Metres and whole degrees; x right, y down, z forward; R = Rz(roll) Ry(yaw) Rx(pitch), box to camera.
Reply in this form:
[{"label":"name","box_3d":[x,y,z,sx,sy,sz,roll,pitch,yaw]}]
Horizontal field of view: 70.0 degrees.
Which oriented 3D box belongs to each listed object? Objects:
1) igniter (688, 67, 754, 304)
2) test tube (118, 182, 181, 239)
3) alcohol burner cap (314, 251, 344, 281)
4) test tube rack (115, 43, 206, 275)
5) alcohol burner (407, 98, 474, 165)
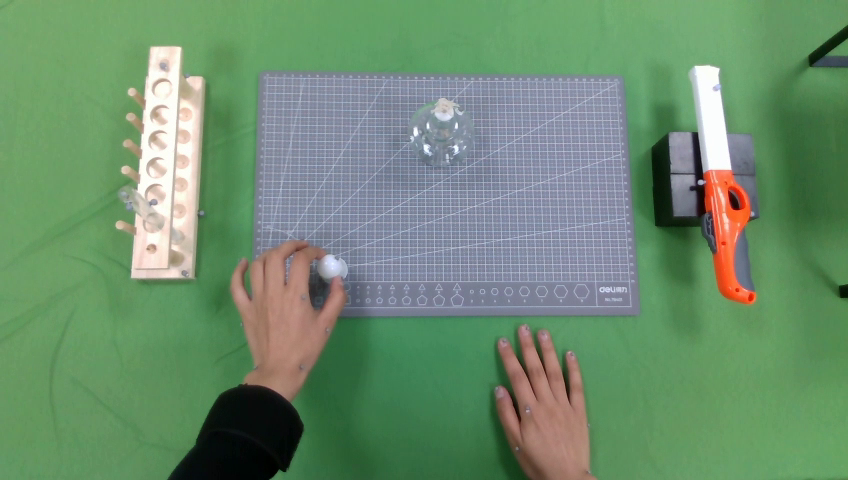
[{"label":"igniter","box_3d":[0.332,-0.065,0.682,0.057,0.025,0.275,-1,77,-6]},{"label":"test tube","box_3d":[-0.273,-0.027,0.611,0.017,0.150,0.017,2,75,-6]},{"label":"alcohol burner cap","box_3d":[-0.109,0.028,0.679,0.034,0.048,0.033,0,79,-1]},{"label":"test tube rack","box_3d":[-0.294,-0.086,0.671,0.067,0.085,0.241,0,80,-3]},{"label":"alcohol burner","box_3d":[0.019,-0.128,0.678,0.078,0.119,0.077,0,80,-1]}]
